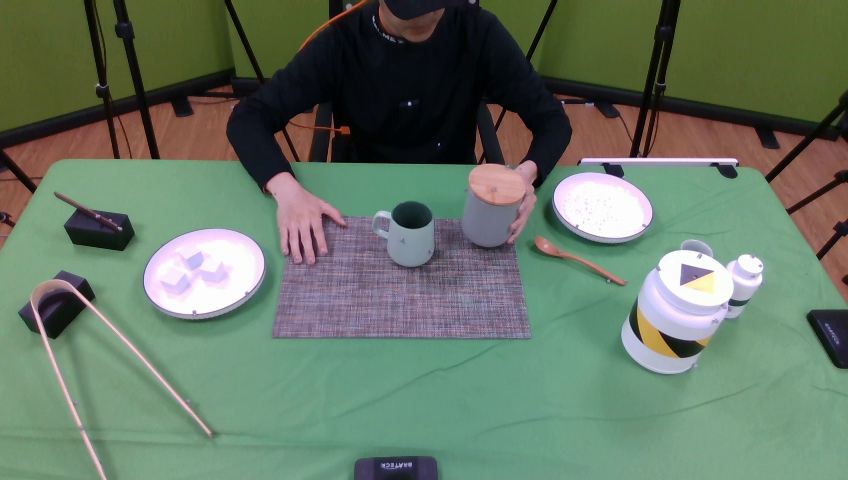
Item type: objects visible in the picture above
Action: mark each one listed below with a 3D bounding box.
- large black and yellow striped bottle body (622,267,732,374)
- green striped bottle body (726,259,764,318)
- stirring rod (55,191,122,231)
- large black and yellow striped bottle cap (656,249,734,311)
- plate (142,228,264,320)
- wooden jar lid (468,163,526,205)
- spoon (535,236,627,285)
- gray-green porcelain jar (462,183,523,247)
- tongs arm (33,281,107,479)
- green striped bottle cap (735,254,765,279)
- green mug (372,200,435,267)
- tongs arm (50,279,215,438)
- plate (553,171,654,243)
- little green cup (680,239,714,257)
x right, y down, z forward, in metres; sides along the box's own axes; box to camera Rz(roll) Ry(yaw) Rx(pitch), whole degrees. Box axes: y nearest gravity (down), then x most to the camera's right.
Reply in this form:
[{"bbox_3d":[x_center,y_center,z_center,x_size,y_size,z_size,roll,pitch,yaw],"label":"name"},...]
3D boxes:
[{"bbox_3d":[0.415,0.119,0.997,0.131,0.185,0.130,2,46,-2],"label":"large black and yellow striped bottle body"},{"bbox_3d":[0.563,0.081,1.089,0.063,0.120,0.063,2,46,-2],"label":"green striped bottle body"},{"bbox_3d":[-0.632,-0.055,1.138,0.175,0.014,0.006,24,50,19],"label":"stirring rod"},{"bbox_3d":[0.419,0.061,0.938,0.115,0.019,0.114,2,47,-2],"label":"large black and yellow striped bottle cap"},{"bbox_3d":[-0.394,0.064,1.095,0.208,0.039,0.206,2,46,-2],"label":"plate"},{"bbox_3d":[0.133,-0.100,1.113,0.108,0.021,0.107,7,47,-7],"label":"wooden jar lid"},{"bbox_3d":[0.303,0.040,1.178,0.193,0.022,0.041,25,30,20],"label":"spoon"},{"bbox_3d":[0.128,-0.058,1.160,0.106,0.127,0.105,3,48,-3],"label":"gray-green porcelain jar"},{"bbox_3d":[-0.517,0.214,0.910,0.051,0.026,0.383,-28,63,-27],"label":"tongs arm"},{"bbox_3d":[0.566,0.046,1.051,0.044,0.020,0.044,0,45,0],"label":"green striped bottle cap"},{"bbox_3d":[-0.040,-0.015,1.146,0.125,0.105,0.092,16,48,12],"label":"green mug"},{"bbox_3d":[-0.459,0.178,0.949,0.386,0.028,0.028,37,60,17],"label":"tongs arm"},{"bbox_3d":[0.373,-0.066,1.275,0.209,0.038,0.208,2,46,-2],"label":"plate"},{"bbox_3d":[0.530,0.033,1.190,0.061,0.039,0.061,2,47,-2],"label":"little green cup"}]
